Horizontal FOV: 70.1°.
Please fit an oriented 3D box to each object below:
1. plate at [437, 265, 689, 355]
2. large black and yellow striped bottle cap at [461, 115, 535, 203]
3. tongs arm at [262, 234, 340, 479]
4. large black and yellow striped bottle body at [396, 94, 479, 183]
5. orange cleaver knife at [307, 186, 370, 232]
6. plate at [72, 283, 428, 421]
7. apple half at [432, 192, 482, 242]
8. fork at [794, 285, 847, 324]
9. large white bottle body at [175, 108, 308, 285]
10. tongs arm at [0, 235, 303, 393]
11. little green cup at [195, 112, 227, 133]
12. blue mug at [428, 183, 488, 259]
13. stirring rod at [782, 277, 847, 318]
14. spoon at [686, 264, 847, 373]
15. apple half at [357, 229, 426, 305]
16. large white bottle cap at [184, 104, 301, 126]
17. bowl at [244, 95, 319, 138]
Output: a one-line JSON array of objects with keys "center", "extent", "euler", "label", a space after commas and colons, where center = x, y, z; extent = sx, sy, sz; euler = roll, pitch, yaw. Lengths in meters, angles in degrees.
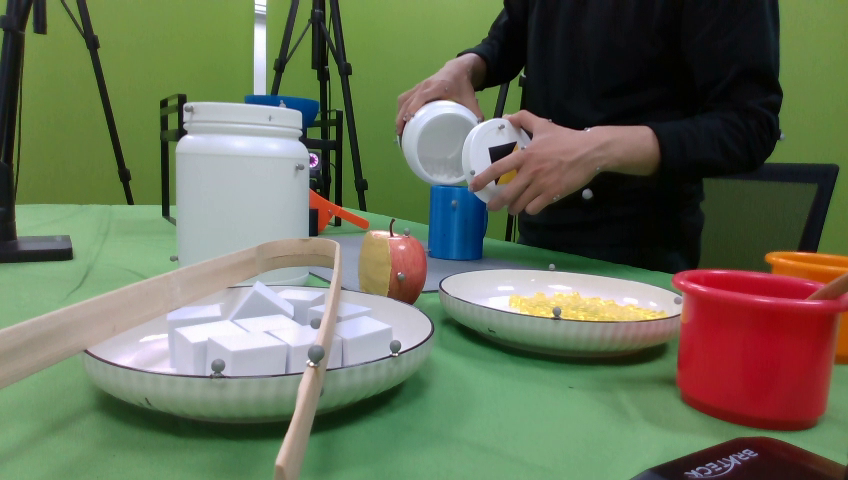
[{"center": [0.114, 0.057, 0.517], "extent": [0.209, 0.038, 0.209], "euler": [3, 8, 0], "label": "plate"}, {"center": [0.099, -0.106, 0.790], "extent": [0.115, 0.115, 0.018], "euler": [-3, 0, -35], "label": "large black and yellow striped bottle cap"}, {"center": [-0.074, 0.039, 0.349], "extent": [0.051, 0.026, 0.384], "euler": [-1, 10, -3], "label": "tongs arm"}, {"center": [0.026, -0.166, 0.983], "extent": [0.131, 0.130, 0.183], "euler": [1, 17, -8], "label": "large black and yellow striped bottle body"}, {"center": [-0.197, -0.056, 1.141], "extent": [0.212, 0.077, 0.012], "euler": [29, 0, -35], "label": "orange cleaver knife"}, {"center": [-0.102, 0.066, 0.381], "extent": [0.208, 0.039, 0.207], "euler": [2, 7, 0], "label": "plate"}, {"center": [0.048, -0.037, 0.906], "extent": [0.081, 0.081, 0.033], "euler": [2, 15, -1], "label": "apple half"}, {"center": [0.332, 0.018, 0.443], "extent": [0.028, 0.018, 0.207], "euler": [-1, -36, -15], "label": "fork"}, {"center": [-0.188, -0.042, 0.630], "extent": [0.131, 0.184, 0.130], "euler": [2, 8, 0], "label": "large white bottle body"}, {"center": [-0.157, 0.037, 0.351], "extent": [0.028, 0.028, 0.388], "euler": [-3, 8, 12], "label": "tongs arm"}, {"center": [-0.412, -0.227, 1.171], "extent": [0.061, 0.038, 0.061], "euler": [3, 8, 0], "label": "little green cup"}, {"center": [0.059, -0.031, 0.907], "extent": [0.082, 0.106, 0.117], "euler": [9, 10, 42], "label": "blue mug"}, {"center": [0.344, 0.019, 0.461], "extent": [0.014, 0.006, 0.176], "euler": [-13, -27, -30], "label": "stirring rod"}, {"center": [0.215, 0.032, 0.328], "extent": [0.042, 0.021, 0.193], "euler": [-3, -35, -26], "label": "spoon"}, {"center": [-0.026, 0.028, 0.570], "extent": [0.053, 0.074, 0.080], "euler": [3, 2, -28], "label": "apple half"}, {"center": [-0.184, -0.126, 0.618], "extent": [0.115, 0.018, 0.115], "euler": [2, 8, 0], "label": "large white bottle cap"}, {"center": [-0.293, -0.251, 1.249], "extent": [0.151, 0.077, 0.151], "euler": [2, 7, 0], "label": "bowl"}]
